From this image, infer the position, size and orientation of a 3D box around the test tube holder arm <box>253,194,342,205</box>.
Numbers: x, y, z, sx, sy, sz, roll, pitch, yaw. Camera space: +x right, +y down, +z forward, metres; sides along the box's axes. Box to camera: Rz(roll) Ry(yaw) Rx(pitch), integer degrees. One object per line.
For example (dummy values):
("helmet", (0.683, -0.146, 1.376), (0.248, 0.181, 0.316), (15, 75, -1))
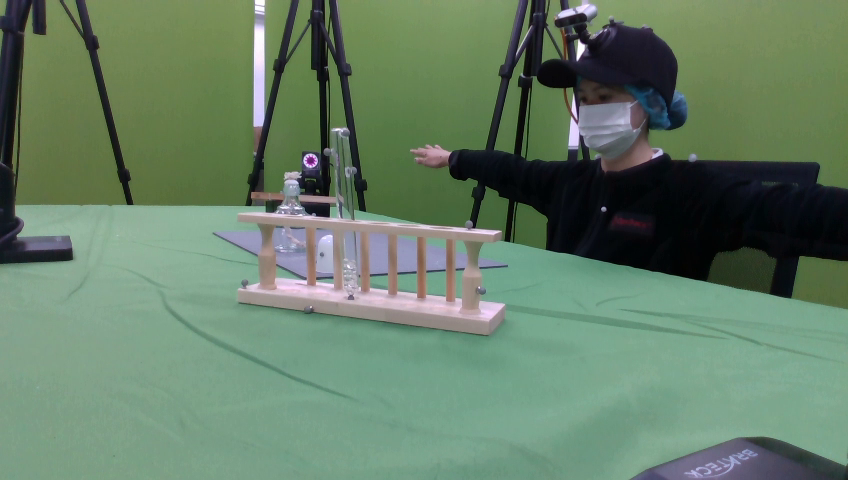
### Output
("test tube holder arm", (-0.256, -0.082, 1.217), (0.179, 0.015, 0.013), (3, 5, -7))

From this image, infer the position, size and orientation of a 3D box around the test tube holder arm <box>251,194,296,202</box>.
("test tube holder arm", (-0.300, -0.084, 1.207), (0.088, 0.015, 0.010), (3, 5, -5))

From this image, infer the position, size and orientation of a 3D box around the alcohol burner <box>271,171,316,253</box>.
("alcohol burner", (-0.196, -0.041, 0.884), (0.078, 0.119, 0.078), (3, 5, 0))

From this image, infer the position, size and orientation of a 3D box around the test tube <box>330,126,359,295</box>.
("test tube", (-0.070, -0.024, 0.533), (0.017, 0.150, 0.017), (-3, 10, 1))

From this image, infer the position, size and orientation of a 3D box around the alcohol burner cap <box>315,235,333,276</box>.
("alcohol burner cap", (-0.116, 0.018, 0.728), (0.034, 0.048, 0.034), (3, 6, 0))

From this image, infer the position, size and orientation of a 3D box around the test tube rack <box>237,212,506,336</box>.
("test tube rack", (-0.049, 0.024, 0.552), (0.242, 0.085, 0.067), (5, 8, 18))
